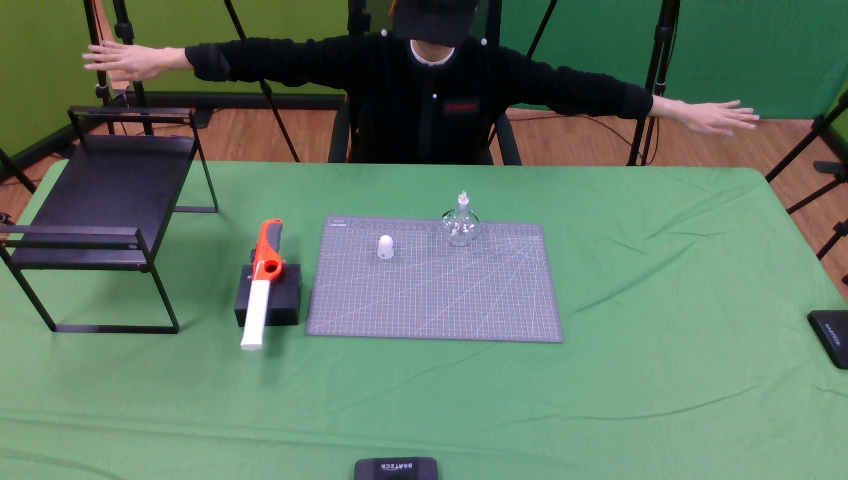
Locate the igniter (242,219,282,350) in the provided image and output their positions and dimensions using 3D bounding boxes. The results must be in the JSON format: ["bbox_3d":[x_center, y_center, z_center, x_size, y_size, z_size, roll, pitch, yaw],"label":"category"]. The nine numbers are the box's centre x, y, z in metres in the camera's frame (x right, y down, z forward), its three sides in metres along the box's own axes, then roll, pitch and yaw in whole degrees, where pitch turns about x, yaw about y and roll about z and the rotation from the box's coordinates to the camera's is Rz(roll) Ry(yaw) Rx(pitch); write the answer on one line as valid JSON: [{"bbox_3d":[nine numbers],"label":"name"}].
[{"bbox_3d":[-0.277,0.065,1.043,0.057,0.025,0.274,1,48,-6],"label":"igniter"}]

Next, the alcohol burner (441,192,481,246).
[{"bbox_3d":[0.073,-0.046,1.176,0.078,0.119,0.077,2,44,-2],"label":"alcohol burner"}]

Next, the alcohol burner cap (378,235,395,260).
[{"bbox_3d":[-0.073,0.012,1.160,0.034,0.048,0.033,1,46,0],"label":"alcohol burner cap"}]
